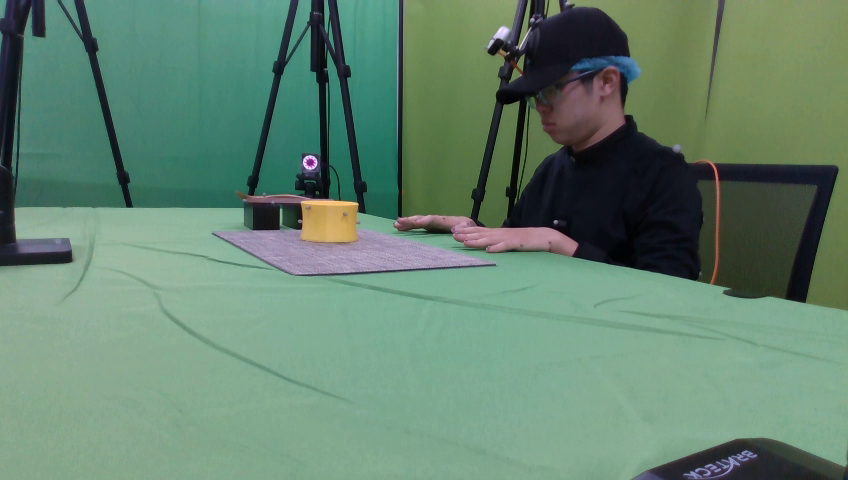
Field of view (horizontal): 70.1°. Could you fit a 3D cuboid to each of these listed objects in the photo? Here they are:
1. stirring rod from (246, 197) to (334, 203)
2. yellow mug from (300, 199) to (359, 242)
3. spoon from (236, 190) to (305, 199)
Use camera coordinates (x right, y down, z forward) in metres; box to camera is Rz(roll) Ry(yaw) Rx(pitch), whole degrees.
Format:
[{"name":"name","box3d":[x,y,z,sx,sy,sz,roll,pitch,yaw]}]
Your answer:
[{"name":"stirring rod","box3d":[-0.263,-0.079,1.200,0.177,0.006,0.014,-2,46,-29]},{"name":"yellow mug","box3d":[-0.157,-0.036,1.060,0.099,0.064,0.131,6,7,27]},{"name":"spoon","box3d":[-0.290,-0.088,1.248,0.195,0.021,0.041,0,6,-31]}]
